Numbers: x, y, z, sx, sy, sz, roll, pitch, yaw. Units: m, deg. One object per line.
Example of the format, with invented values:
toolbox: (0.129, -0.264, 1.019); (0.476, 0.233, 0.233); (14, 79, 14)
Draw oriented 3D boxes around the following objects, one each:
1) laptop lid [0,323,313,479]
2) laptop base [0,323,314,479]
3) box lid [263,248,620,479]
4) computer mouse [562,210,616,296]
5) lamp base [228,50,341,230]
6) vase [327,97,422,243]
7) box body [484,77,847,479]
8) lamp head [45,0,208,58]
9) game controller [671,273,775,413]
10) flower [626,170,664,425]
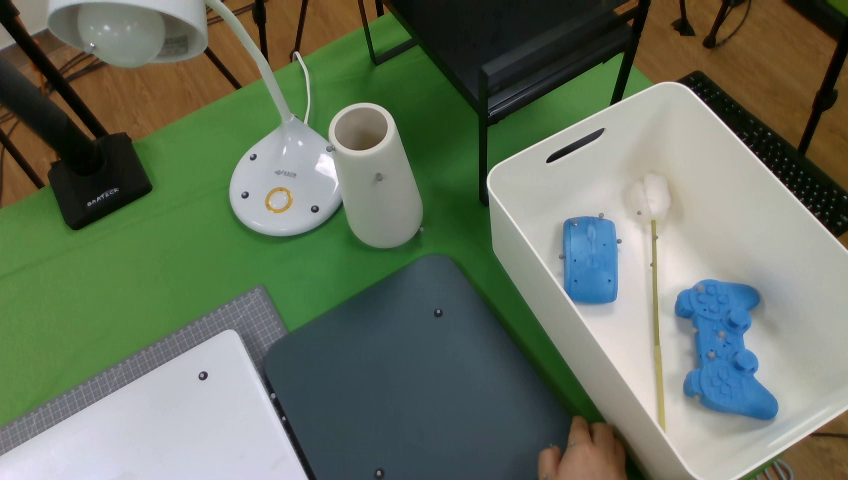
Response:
laptop lid: (-0.316, 0.268, 0.645); (0.357, 0.013, 0.239); (-28, 67, -9)
laptop base: (-0.316, 0.271, 0.656); (0.354, 0.023, 0.233); (-30, 69, -10)
box lid: (0.005, 0.192, 0.663); (0.263, 0.015, 0.368); (-30, 62, -12)
computer mouse: (0.197, 0.012, 0.728); (0.062, 0.041, 0.116); (3, 60, 10)
lamp base: (-0.191, -0.131, 0.757); (0.160, 0.182, 0.177); (0, 61, 5)
vase: (-0.058, -0.077, 0.709); (0.098, 0.202, 0.097); (-3, 62, 6)
box body: (0.257, 0.040, 0.647); (0.254, 0.162, 0.360); (-28, 65, -9)
lamp head: (-0.223, -0.214, 0.465); (0.112, 0.113, 0.122); (-3, 81, 4)
game controller: (0.329, 0.107, 0.666); (0.097, 0.052, 0.154); (2, 63, 7)
flower: (0.263, 0.077, 0.697); (0.044, 0.038, 0.359); (-9, 59, 29)
